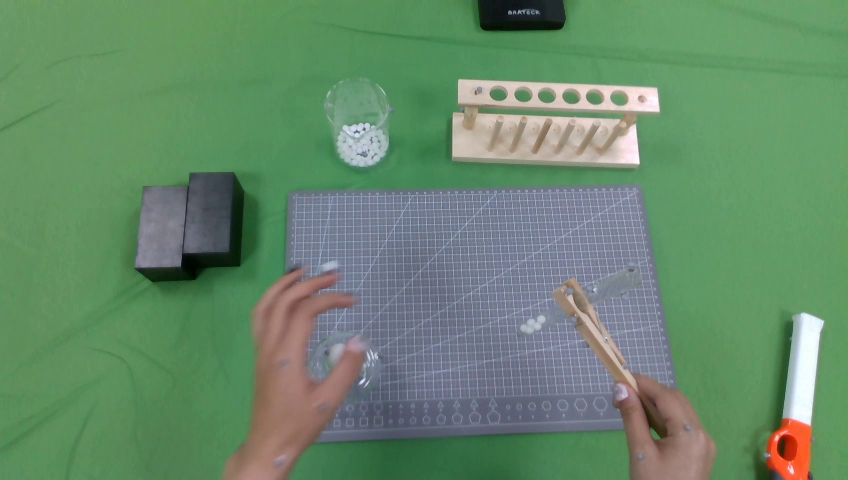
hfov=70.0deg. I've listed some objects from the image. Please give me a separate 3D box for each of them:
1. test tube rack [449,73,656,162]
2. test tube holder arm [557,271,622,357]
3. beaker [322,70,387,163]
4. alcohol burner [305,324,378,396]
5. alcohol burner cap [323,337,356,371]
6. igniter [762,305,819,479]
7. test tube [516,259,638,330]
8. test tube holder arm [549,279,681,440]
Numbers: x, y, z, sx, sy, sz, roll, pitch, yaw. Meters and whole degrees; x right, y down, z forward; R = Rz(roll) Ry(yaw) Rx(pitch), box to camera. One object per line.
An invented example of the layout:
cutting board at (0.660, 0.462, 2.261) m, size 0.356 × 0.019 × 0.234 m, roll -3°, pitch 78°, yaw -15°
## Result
test tube rack at (0.156, -0.151, 0.760) m, size 0.242 × 0.085 × 0.066 m, roll 2°, pitch 71°, yaw -2°
test tube holder arm at (0.145, 0.067, 0.530) m, size 0.010 × 0.015 × 0.088 m, roll -31°, pitch 89°, yaw -40°
beaker at (-0.082, -0.142, 0.736) m, size 0.074 × 0.101 × 0.083 m, roll 1°, pitch 71°, yaw -3°
alcohol burner at (-0.087, 0.122, 0.633) m, size 0.078 × 0.120 × 0.077 m, roll 2°, pitch 69°, yaw -4°
alcohol burner cap at (-0.085, 0.112, 0.598) m, size 0.034 × 0.048 × 0.033 m, roll 1°, pitch 75°, yaw -3°
igniter at (0.411, 0.205, 0.681) m, size 0.057 × 0.025 × 0.275 m, roll 22°, pitch 71°, yaw -6°
test tube at (0.128, 0.051, 0.530) m, size 0.017 × 0.150 × 0.017 m, roll 13°, pitch 60°, yaw -24°
test tube holder arm at (0.168, 0.106, 0.529) m, size 0.178 × 0.015 × 0.013 m, roll 53°, pitch 51°, yaw -5°
